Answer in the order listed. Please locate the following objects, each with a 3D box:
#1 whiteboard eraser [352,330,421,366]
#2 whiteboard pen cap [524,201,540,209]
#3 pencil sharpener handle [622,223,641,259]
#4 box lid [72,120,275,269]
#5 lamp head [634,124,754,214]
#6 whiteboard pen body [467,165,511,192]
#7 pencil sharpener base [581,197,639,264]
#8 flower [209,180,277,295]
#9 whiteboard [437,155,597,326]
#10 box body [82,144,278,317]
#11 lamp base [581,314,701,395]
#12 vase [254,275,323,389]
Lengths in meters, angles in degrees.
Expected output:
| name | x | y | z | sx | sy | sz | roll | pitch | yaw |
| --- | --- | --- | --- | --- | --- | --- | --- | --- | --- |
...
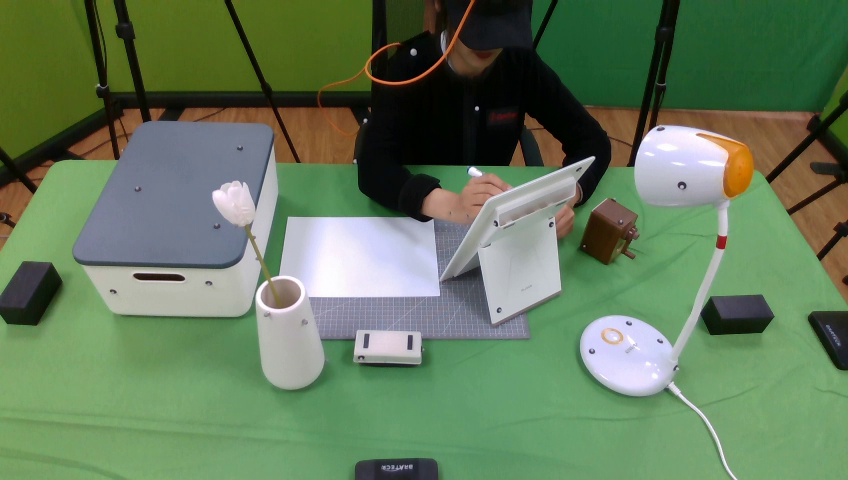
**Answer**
| name | x | y | z | sx | sy | sz | roll | pitch | yaw |
| --- | --- | --- | --- | --- | --- | --- | --- | --- | --- |
| whiteboard eraser | -0.060 | 0.180 | 1.005 | 0.113 | 0.042 | 0.055 | 3 | 48 | -3 |
| whiteboard pen cap | 0.229 | -0.075 | 1.289 | 0.033 | 0.018 | 0.018 | 3 | 46 | 4 |
| pencil sharpener handle | 0.397 | 0.003 | 1.146 | 0.030 | 0.068 | 0.036 | 37 | 45 | 27 |
| box lid | -0.417 | -0.094 | 1.056 | 0.263 | 0.015 | 0.369 | 1 | 47 | -3 |
| lamp head | 0.351 | -0.089 | 0.776 | 0.112 | 0.113 | 0.122 | -30 | 30 | -28 |
| whiteboard pen body | 0.125 | -0.095 | 1.041 | 0.017 | 0.017 | 0.140 | -31 | 48 | -29 |
| pencil sharpener base | 0.362 | -0.017 | 1.179 | 0.076 | 0.107 | 0.061 | 37 | 54 | 27 |
| flower | -0.217 | 0.075 | 0.871 | 0.044 | 0.363 | 0.038 | -29 | 36 | -19 |
| whiteboard | 0.180 | 0.024 | 1.029 | 0.217 | 0.306 | 0.143 | -22 | 70 | -23 |
| box body | -0.421 | -0.041 | 1.108 | 0.254 | 0.161 | 0.361 | 2 | 46 | -3 |
| lamp base | 0.361 | 0.145 | 0.973 | 0.178 | 0.181 | 0.160 | 34 | 53 | 23 |
| vase | -0.209 | 0.143 | 0.921 | 0.098 | 0.201 | 0.097 | 1 | 46 | -1 |
